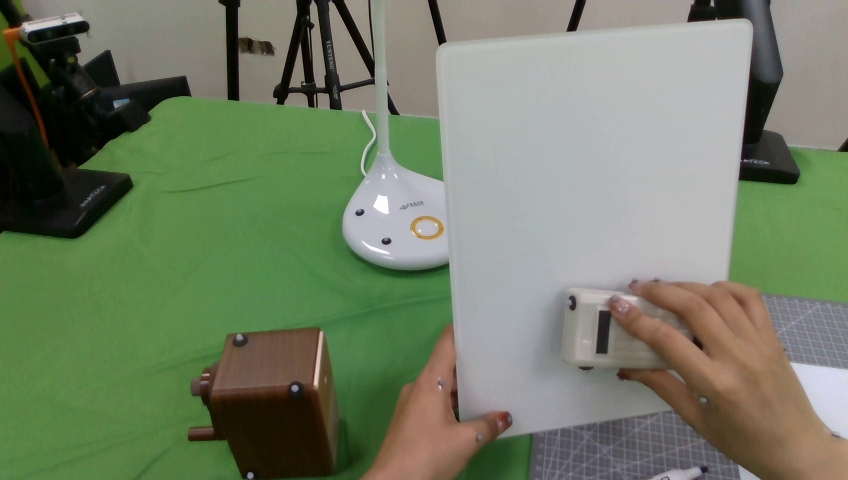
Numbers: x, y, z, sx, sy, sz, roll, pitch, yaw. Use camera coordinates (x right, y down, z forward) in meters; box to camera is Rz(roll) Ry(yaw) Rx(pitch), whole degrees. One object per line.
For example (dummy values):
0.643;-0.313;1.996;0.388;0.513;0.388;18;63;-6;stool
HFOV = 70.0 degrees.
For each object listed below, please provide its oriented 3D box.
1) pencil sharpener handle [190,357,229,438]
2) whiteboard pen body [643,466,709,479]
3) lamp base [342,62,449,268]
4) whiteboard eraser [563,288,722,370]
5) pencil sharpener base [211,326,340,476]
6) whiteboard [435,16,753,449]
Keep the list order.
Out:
-0.158;0.117;0.438;0.030;0.068;0.035;-3;26;-2;pencil sharpener handle
0.145;0.184;0.435;0.141;0.017;0.017;-12;40;-14;whiteboard pen body
-0.022;-0.088;0.653;0.161;0.182;0.177;-25;42;-27;lamp base
0.158;0.066;0.446;0.113;0.055;0.041;4;5;-11;whiteboard eraser
-0.107;0.122;0.450;0.077;0.108;0.060;-3;39;-2;pencil sharpener base
0.117;-0.013;0.502;0.217;0.307;0.143;-7;20;-6;whiteboard
